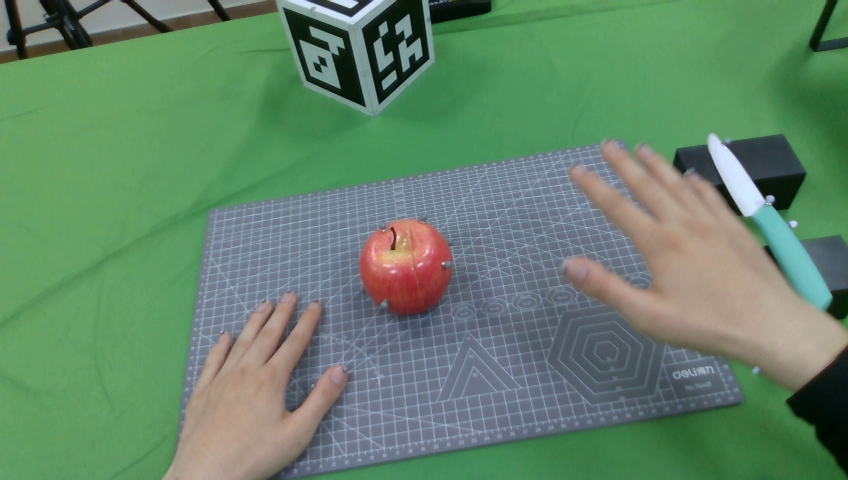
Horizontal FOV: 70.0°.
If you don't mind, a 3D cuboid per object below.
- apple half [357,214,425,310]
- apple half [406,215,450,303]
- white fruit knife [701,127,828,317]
[{"bbox_3d":[-0.031,0.024,0.531,0.053,0.075,0.080,-13,57,4],"label":"apple half"},{"bbox_3d":[0.007,0.016,0.530,0.033,0.082,0.080,-13,52,4],"label":"apple half"},{"bbox_3d":[0.276,-0.027,0.504,0.027,0.016,0.205,-15,51,8],"label":"white fruit knife"}]
